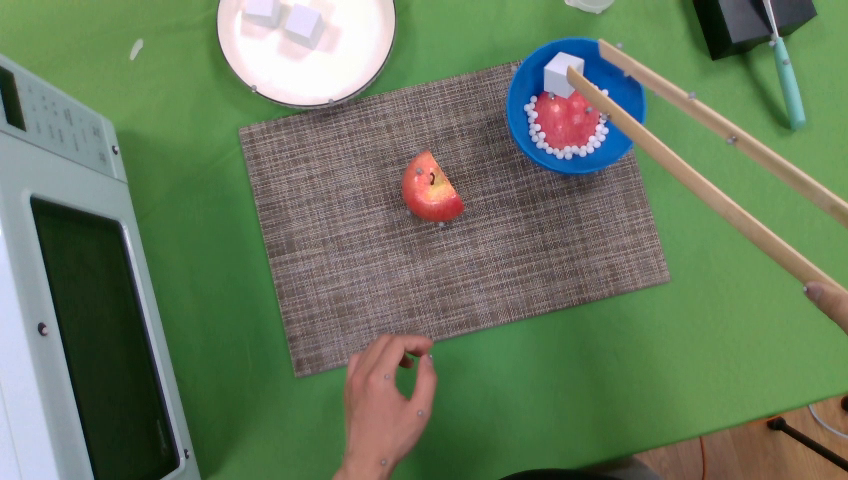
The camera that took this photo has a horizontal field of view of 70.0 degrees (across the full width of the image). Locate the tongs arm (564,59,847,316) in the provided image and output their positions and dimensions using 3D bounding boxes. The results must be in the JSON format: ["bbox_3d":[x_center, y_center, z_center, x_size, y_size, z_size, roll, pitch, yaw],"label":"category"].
[{"bbox_3d":[0.244,-0.047,0.506,0.028,0.028,0.383,-32,57,-10],"label":"tongs arm"}]

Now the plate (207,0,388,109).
[{"bbox_3d":[-0.146,-0.252,0.716,0.208,0.039,0.207,0,85,-1],"label":"plate"}]

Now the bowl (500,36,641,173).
[{"bbox_3d":[0.157,-0.143,0.686,0.151,0.077,0.151,0,85,0],"label":"bowl"}]

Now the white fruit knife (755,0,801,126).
[{"bbox_3d":[0.399,-0.228,0.696,0.016,0.027,0.208,-21,103,15],"label":"white fruit knife"}]

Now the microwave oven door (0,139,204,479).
[{"bbox_3d":[-0.306,0.098,0.563,0.039,0.244,0.355,-17,85,-2],"label":"microwave oven door"}]

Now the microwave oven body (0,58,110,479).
[{"bbox_3d":[-0.458,0.099,0.565,0.326,0.260,0.440,-16,86,-3],"label":"microwave oven body"}]

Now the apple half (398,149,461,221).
[{"bbox_3d":[-0.001,-0.054,0.679,0.053,0.074,0.081,-34,90,0],"label":"apple half"}]

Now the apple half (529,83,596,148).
[{"bbox_3d":[0.160,-0.143,0.682,0.081,0.033,0.081,0,85,3],"label":"apple half"}]

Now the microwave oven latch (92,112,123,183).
[{"bbox_3d":[-0.366,-0.101,0.680,0.030,0.029,0.079,-16,86,-3],"label":"microwave oven latch"}]

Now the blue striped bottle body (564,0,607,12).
[{"bbox_3d":[0.197,-0.315,0.683,0.063,0.121,0.063,0,84,0],"label":"blue striped bottle body"}]

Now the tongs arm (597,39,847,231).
[{"bbox_3d":[0.267,-0.062,0.508,0.051,0.027,0.381,-37,58,-9],"label":"tongs arm"}]
